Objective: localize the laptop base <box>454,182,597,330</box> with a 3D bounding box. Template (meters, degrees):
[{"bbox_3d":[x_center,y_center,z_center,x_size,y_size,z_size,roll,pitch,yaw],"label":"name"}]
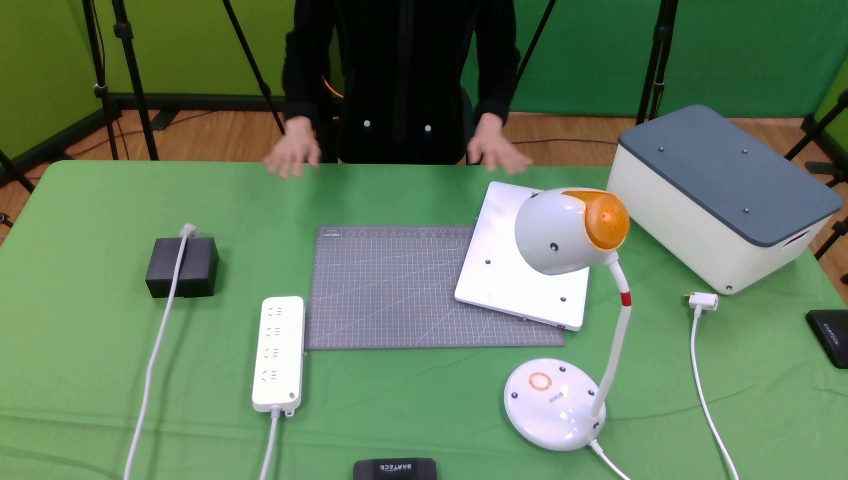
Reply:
[{"bbox_3d":[0.212,0.018,1.202,0.235,0.023,0.352,11,46,11],"label":"laptop base"}]

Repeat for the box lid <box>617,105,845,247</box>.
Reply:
[{"bbox_3d":[0.586,-0.138,1.176,0.263,0.015,0.369,-22,51,-23],"label":"box lid"}]

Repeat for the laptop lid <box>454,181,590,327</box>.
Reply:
[{"bbox_3d":[0.210,0.010,1.193,0.241,0.013,0.355,13,46,11],"label":"laptop lid"}]

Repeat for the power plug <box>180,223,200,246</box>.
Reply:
[{"bbox_3d":[-0.450,-0.004,1.137,0.035,0.053,0.072,24,32,1],"label":"power plug"}]

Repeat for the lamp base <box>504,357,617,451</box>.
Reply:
[{"bbox_3d":[0.220,0.211,0.903,0.160,0.181,0.178,-33,59,-30],"label":"lamp base"}]

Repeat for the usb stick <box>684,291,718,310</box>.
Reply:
[{"bbox_3d":[0.509,0.111,1.121,0.059,0.021,0.027,6,54,46],"label":"usb stick"}]

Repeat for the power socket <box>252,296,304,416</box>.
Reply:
[{"bbox_3d":[-0.238,0.181,0.997,0.072,0.033,0.225,-3,47,-5],"label":"power socket"}]

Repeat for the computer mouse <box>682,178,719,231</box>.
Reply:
[{"bbox_3d":[0.596,-0.078,1.289,0.117,0.041,0.062,56,44,-8],"label":"computer mouse"}]

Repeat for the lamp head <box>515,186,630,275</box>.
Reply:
[{"bbox_3d":[0.188,-0.013,0.728,0.112,0.112,0.122,-25,9,-25],"label":"lamp head"}]

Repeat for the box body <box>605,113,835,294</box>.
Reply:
[{"bbox_3d":[0.582,-0.089,1.230,0.254,0.161,0.361,-22,52,-23],"label":"box body"}]
